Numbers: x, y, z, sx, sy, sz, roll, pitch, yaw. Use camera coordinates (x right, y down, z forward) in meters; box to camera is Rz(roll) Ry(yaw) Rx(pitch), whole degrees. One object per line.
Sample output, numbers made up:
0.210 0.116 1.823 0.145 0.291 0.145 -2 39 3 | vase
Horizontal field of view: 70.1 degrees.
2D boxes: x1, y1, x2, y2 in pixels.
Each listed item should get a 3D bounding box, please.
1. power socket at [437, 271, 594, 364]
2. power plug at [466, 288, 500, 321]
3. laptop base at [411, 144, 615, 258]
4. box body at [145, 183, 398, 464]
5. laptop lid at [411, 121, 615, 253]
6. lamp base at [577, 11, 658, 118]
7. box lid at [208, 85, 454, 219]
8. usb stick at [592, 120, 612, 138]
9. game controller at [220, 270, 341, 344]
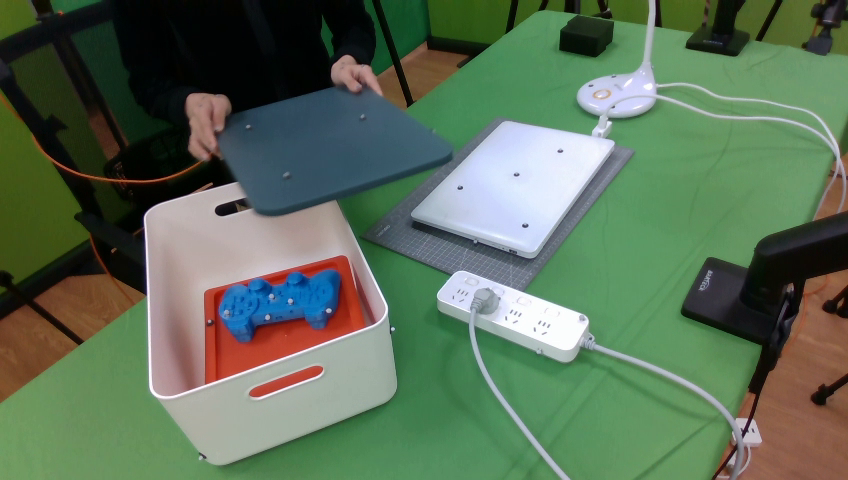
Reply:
0.118 0.102 0.830 0.225 0.033 0.072 20 48 28 | power socket
0.072 0.093 0.813 0.073 0.053 0.035 -37 49 -28 | power plug
0.167 -0.102 1.074 0.234 0.023 0.355 16 45 30 | laptop base
-0.204 0.080 0.802 0.255 0.161 0.361 -18 41 -12 | box body
0.164 -0.112 1.068 0.240 0.013 0.357 19 46 31 | laptop lid
0.406 -0.363 1.222 0.180 0.181 0.159 -20 42 -18 | lamp base
-0.148 -0.141 0.852 0.264 0.015 0.368 -21 34 -19 | box lid
0.335 -0.203 1.149 0.021 0.027 0.059 25 53 26 | usb stick
-0.186 0.076 0.779 0.155 0.052 0.096 -9 45 -2 | game controller
